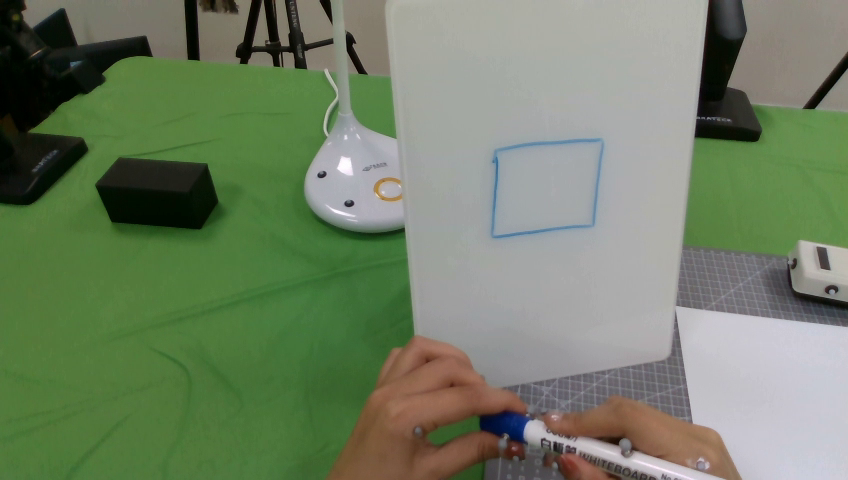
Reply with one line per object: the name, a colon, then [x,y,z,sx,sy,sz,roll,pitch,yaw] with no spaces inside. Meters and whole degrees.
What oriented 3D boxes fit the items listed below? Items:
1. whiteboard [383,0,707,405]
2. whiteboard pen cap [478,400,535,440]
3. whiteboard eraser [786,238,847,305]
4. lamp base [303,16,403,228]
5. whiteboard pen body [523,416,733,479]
whiteboard: [0.082,-0.048,0.500,0.217,0.307,0.142,-8,24,-7]
whiteboard pen cap: [0.051,0.109,0.369,0.033,0.018,0.018,10,41,33]
whiteboard eraser: [0.398,0.035,0.557,0.112,0.042,0.055,11,42,13]
lamp base: [-0.064,-0.131,0.640,0.161,0.182,0.177,-28,47,-27]
whiteboard pen body: [0.098,0.116,0.331,0.140,0.017,0.017,7,38,40]
